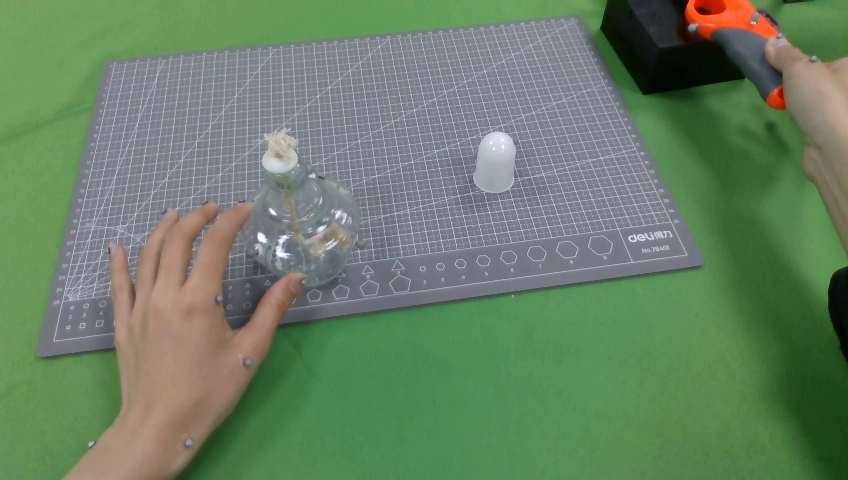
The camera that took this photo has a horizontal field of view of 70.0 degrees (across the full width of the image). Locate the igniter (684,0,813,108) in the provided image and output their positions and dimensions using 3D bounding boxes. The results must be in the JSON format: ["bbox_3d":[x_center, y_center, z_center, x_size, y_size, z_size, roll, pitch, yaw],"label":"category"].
[{"bbox_3d":[0.237,-0.207,0.510,0.057,0.025,0.273,-16,55,-2],"label":"igniter"}]

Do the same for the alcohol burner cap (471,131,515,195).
[{"bbox_3d":[0.053,-0.061,0.457,0.034,0.048,0.033,1,54,-1],"label":"alcohol burner cap"}]

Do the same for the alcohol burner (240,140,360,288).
[{"bbox_3d":[-0.082,-0.021,0.385,0.078,0.120,0.077,-1,56,1],"label":"alcohol burner"}]
